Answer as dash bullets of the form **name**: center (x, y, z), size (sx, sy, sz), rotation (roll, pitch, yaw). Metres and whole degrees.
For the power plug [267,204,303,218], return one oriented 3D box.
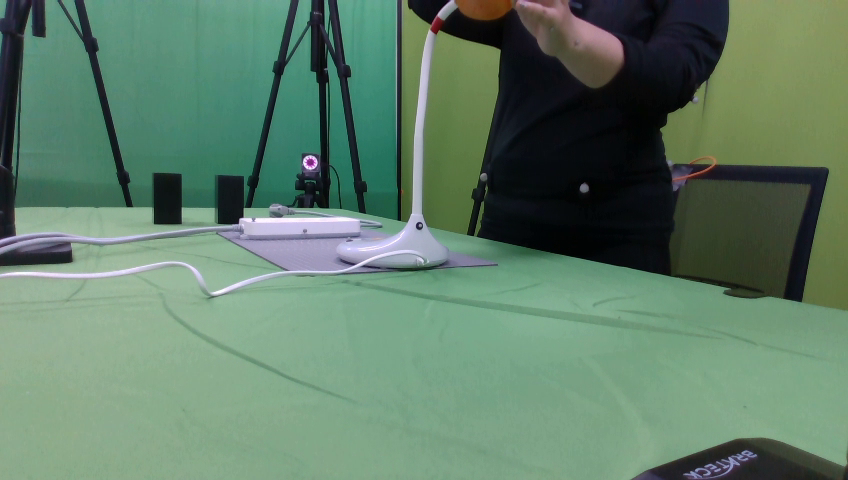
- **power plug**: center (-0.327, -0.060, 1.404), size (0.073, 0.035, 0.052), rotation (22, -14, -26)

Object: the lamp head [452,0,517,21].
- **lamp head**: center (0.069, -0.317, 0.696), size (0.112, 0.122, 0.112), rotation (7, -1, 0)

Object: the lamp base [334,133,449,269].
- **lamp base**: center (-0.033, -0.057, 0.830), size (0.161, 0.180, 0.178), rotation (-3, 12, -36)

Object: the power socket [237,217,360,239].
- **power socket**: center (-0.221, -0.023, 1.080), size (0.228, 0.032, 0.072), rotation (-2, 8, -33)
